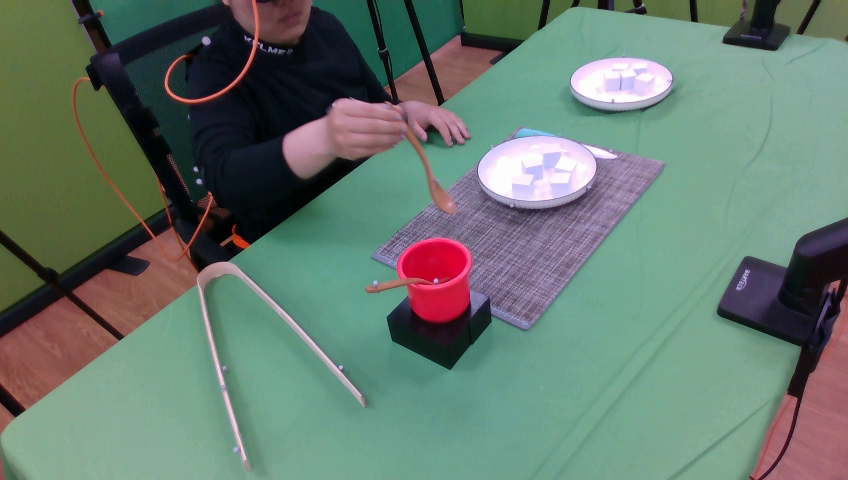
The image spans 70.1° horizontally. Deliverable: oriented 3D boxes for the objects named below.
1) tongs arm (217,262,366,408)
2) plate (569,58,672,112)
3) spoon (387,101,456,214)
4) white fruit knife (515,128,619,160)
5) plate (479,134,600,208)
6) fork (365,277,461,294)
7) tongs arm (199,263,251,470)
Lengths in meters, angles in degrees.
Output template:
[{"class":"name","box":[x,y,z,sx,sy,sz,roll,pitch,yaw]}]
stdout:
[{"class":"tongs arm","box":[-0.201,0.123,0.871,0.028,0.028,0.384,-35,46,-25]},{"class":"plate","box":[0.411,-0.323,1.274,0.209,0.038,0.208,-5,41,5]},{"class":"spoon","box":[-0.001,-0.113,0.846,0.021,0.195,0.041,-11,37,24]},{"class":"white fruit knife","box":[0.269,-0.182,1.148,0.206,0.016,0.027,21,77,29]},{"class":"plate","box":[0.202,-0.117,1.065,0.207,0.039,0.206,-5,40,5]},{"class":"fork","box":[-0.009,0.055,0.744,0.028,0.018,0.209,27,9,28]},{"class":"tongs arm","box":[-0.270,0.154,0.840,0.051,0.026,0.381,-23,41,-17]}]
